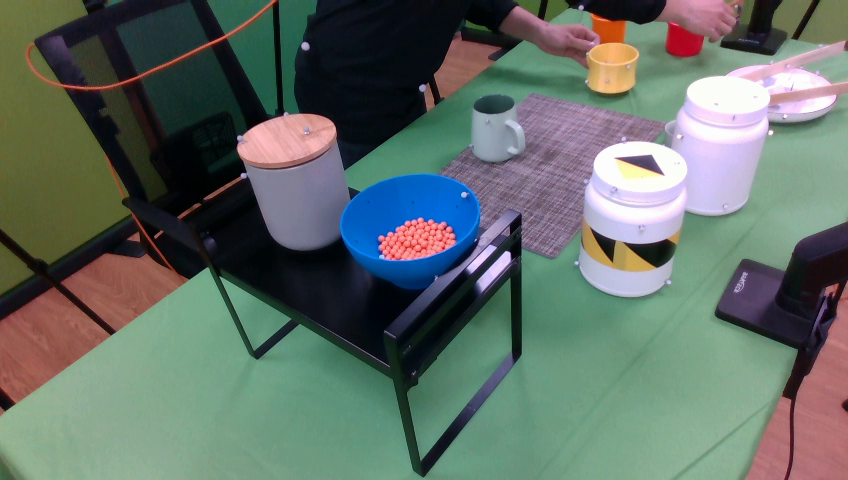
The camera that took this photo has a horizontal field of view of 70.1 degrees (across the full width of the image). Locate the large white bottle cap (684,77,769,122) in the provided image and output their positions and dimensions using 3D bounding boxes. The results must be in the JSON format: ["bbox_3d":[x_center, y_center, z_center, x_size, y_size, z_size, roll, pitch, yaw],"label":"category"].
[{"bbox_3d":[0.448,-0.209,0.898,0.115,0.018,0.114,-4,40,4],"label":"large white bottle cap"}]

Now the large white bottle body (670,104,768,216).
[{"bbox_3d":[0.458,-0.146,0.952,0.130,0.185,0.130,-4,40,4],"label":"large white bottle body"}]

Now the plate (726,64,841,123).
[{"bbox_3d":[0.694,-0.282,1.189,0.207,0.039,0.206,-4,40,4],"label":"plate"}]

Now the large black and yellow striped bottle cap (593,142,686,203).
[{"bbox_3d":[0.280,-0.090,0.786,0.115,0.019,0.114,-5,41,5],"label":"large black and yellow striped bottle cap"}]

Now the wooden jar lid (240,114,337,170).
[{"bbox_3d":[-0.149,-0.106,0.673,0.108,0.021,0.108,-6,39,5],"label":"wooden jar lid"}]

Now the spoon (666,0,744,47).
[{"bbox_3d":[0.634,-0.491,1.358,0.193,0.022,0.041,-33,19,46],"label":"spoon"}]

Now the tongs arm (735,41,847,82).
[{"bbox_3d":[0.712,-0.332,1.194,0.386,0.026,0.050,-18,45,-16],"label":"tongs arm"}]

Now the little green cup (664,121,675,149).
[{"bbox_3d":[0.472,-0.188,1.113,0.061,0.039,0.061,-4,40,4],"label":"little green cup"}]

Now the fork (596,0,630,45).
[{"bbox_3d":[0.481,-0.556,1.452,0.028,0.019,0.207,40,103,39],"label":"fork"}]

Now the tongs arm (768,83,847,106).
[{"bbox_3d":[0.738,-0.282,1.134,0.388,0.028,0.028,-9,47,-5],"label":"tongs arm"}]

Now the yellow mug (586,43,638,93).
[{"bbox_3d":[0.387,-0.372,1.283,0.100,0.064,0.129,-24,44,-17],"label":"yellow mug"}]

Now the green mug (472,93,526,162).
[{"bbox_3d":[0.144,-0.202,1.122,0.093,0.105,0.124,-29,45,-23],"label":"green mug"}]

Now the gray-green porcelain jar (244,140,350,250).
[{"bbox_3d":[-0.144,-0.060,0.714,0.106,0.127,0.105,-4,41,4],"label":"gray-green porcelain jar"}]

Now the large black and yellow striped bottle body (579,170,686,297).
[{"bbox_3d":[0.287,-0.027,0.841,0.131,0.185,0.130,-4,40,4],"label":"large black and yellow striped bottle body"}]

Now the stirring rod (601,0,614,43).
[{"bbox_3d":[0.439,-0.552,1.463,0.014,0.006,0.175,-7,83,3],"label":"stirring rod"}]

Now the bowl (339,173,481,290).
[{"bbox_3d":[-0.011,0.001,0.660,0.151,0.077,0.150,-5,41,5],"label":"bowl"}]
